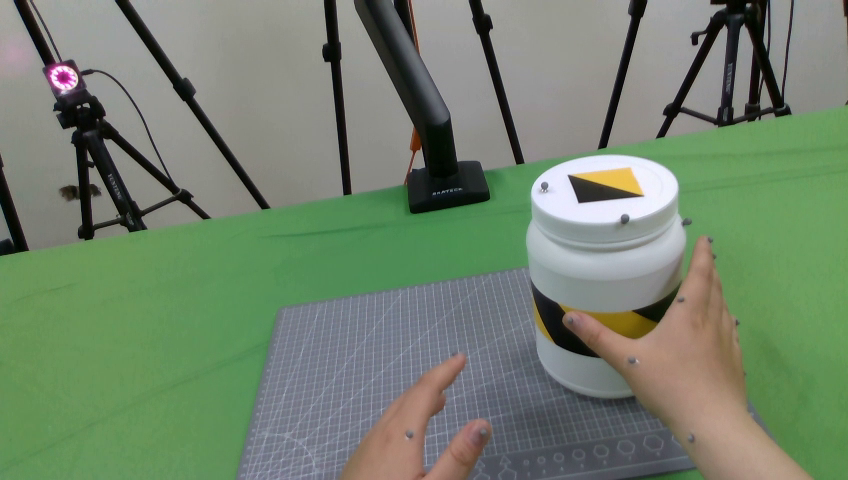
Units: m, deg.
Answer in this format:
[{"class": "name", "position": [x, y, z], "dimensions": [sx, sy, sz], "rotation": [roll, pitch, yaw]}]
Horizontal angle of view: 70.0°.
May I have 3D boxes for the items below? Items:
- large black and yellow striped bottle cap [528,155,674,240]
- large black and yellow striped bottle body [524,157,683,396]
[{"class": "large black and yellow striped bottle cap", "position": [0.143, -0.038, 0.494], "dimensions": [0.115, 0.019, 0.114], "rotation": [-7, 32, 5]}, {"class": "large black and yellow striped bottle body", "position": [0.158, 0.031, 0.540], "dimensions": [0.130, 0.185, 0.129], "rotation": [-8, 33, 6]}]
